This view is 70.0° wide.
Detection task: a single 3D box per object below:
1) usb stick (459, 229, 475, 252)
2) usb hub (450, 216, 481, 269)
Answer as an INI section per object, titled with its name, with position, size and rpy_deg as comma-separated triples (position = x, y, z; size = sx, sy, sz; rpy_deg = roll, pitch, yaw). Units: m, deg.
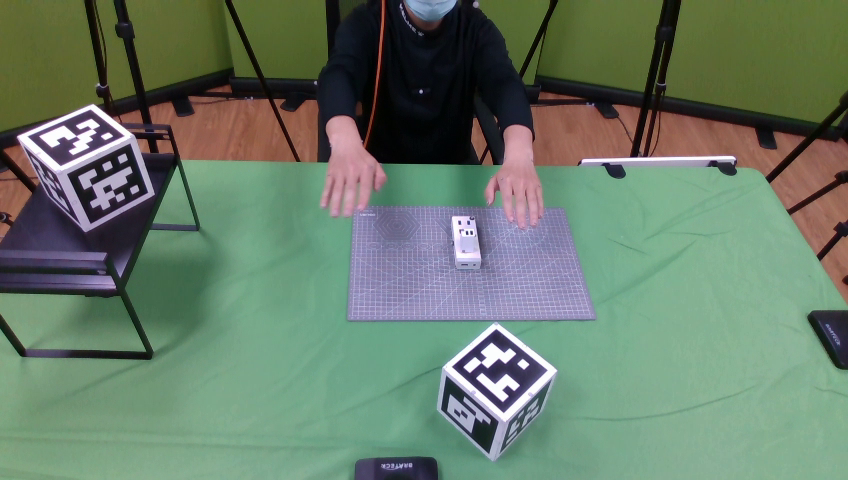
[usb stick]
position = 0.081, 0.006, 1.151
size = 0.027, 0.059, 0.021
rpy_deg = -1, 46, -6
[usb hub]
position = 0.082, 0.004, 1.194
size = 0.049, 0.025, 0.124
rpy_deg = 0, 46, -4
